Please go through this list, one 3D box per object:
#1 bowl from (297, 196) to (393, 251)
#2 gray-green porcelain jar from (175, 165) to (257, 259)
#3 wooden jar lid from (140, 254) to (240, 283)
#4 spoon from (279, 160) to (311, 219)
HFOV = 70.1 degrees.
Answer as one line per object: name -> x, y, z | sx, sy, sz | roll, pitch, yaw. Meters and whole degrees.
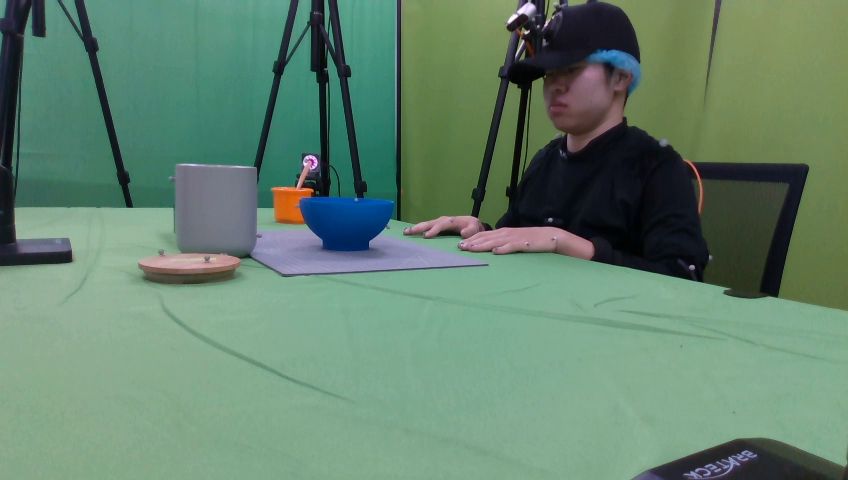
bowl -> -0.125, -0.026, 0.958 | 0.151, 0.077, 0.151 | 2, 7, 0
gray-green porcelain jar -> -0.286, -0.039, 0.837 | 0.106, 0.126, 0.106 | 2, 7, 0
wooden jar lid -> -0.269, 0.033, 0.698 | 0.108, 0.020, 0.108 | 2, 5, 0
spoon -> -0.284, -0.117, 1.371 | 0.041, 0.193, 0.022 | 4, -37, 10
